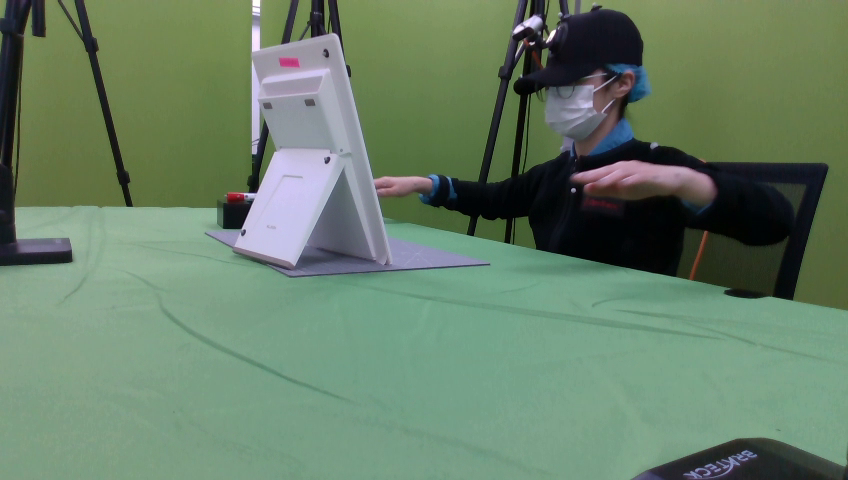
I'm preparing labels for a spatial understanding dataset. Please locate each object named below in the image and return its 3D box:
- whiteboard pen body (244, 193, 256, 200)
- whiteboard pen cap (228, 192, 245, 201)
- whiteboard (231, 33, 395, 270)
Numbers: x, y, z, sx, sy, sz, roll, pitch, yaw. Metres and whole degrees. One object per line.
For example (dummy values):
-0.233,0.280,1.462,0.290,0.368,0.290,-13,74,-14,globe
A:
-0.327,-0.089,1.246,0.141,0.017,0.017,-1,8,-29,whiteboard pen body
-0.377,-0.088,1.217,0.032,0.017,0.017,0,7,-29,whiteboard pen cap
-0.193,-0.094,0.805,0.144,0.305,0.216,-28,25,-35,whiteboard
